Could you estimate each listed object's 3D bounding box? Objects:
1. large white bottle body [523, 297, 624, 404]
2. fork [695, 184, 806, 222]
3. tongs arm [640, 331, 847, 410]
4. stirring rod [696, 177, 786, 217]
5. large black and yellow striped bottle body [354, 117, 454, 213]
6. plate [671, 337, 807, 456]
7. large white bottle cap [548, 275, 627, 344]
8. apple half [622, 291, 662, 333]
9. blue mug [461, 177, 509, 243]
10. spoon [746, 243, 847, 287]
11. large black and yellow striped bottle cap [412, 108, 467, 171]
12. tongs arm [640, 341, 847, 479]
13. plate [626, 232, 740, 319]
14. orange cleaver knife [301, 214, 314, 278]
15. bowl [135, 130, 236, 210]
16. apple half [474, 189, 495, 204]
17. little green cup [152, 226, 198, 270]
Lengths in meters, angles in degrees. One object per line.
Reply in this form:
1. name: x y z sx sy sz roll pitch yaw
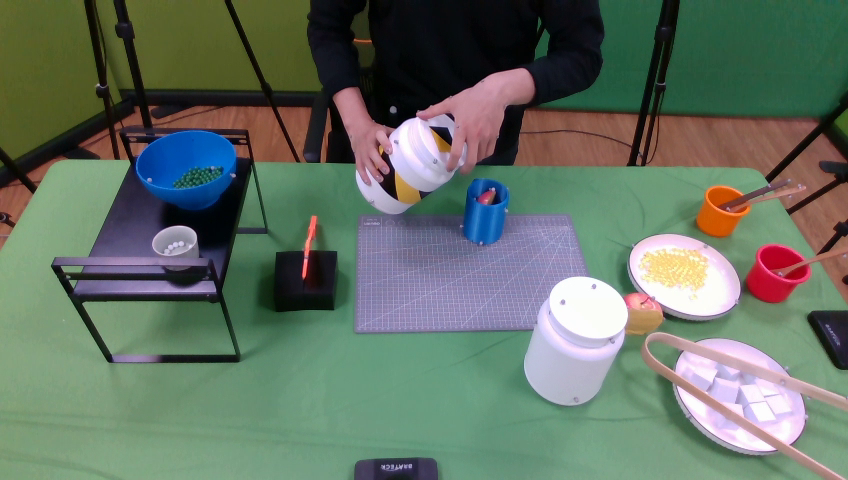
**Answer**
1. large white bottle body: 0.235 0.159 0.952 0.131 0.185 0.130 2 47 -2
2. fork: 0.658 -0.074 1.229 0.207 0.019 0.028 -24 34 36
3. tongs arm: 0.543 0.226 0.969 0.384 0.026 0.050 22 52 13
4. stirring rod: 0.648 -0.087 1.244 0.176 0.006 0.014 -25 50 29
5. large black and yellow striped bottle body: -0.026 -0.142 1.107 0.131 0.184 0.130 23 52 -34
6. plate: 0.504 0.254 0.984 0.208 0.039 0.206 2 46 -2
7. large white bottle cap: 0.240 0.100 0.890 0.115 0.018 0.114 3 47 -3
8. apple half: 0.372 0.124 1.074 0.081 0.075 0.053 0 42 1
9. blue mug: 0.114 -0.070 1.210 0.082 0.106 0.115 -12 48 -15
10. spoon: 0.702 0.043 1.126 0.194 0.022 0.041 -29 38 30
11. large black and yellow striped bottle cap: 0.028 -0.175 1.052 0.115 0.019 0.114 22 54 -33
12. tongs arm: 0.500 0.278 0.919 0.386 0.028 0.028 34 59 22
13. plate: 0.488 0.071 1.157 0.209 0.038 0.208 3 46 -3
14. orange cleaver knife: -0.218 0.008 1.131 0.012 0.077 0.210 7 19 -9
15. bowl: -0.375 -0.102 0.978 0.151 0.077 0.150 2 46 -2
16. apple half: 0.110 -0.067 1.200 0.033 0.081 0.081 26 50 11
17. little green cup: -0.364 0.013 0.894 0.061 0.039 0.061 3 46 -3
